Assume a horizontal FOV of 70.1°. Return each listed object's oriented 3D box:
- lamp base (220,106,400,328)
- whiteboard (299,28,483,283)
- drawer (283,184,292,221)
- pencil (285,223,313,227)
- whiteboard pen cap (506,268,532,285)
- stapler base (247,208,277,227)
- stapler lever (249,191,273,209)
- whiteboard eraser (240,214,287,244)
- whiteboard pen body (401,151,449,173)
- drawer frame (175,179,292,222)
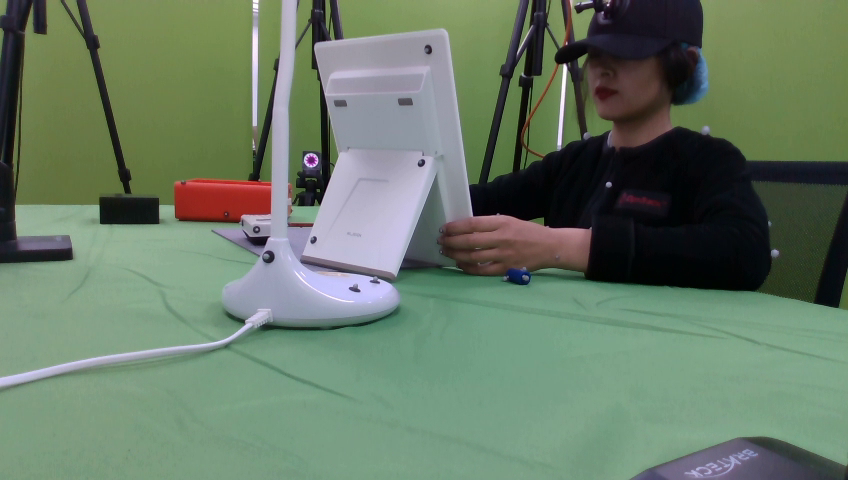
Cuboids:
[{"bbox_3d":[-0.102,-0.023,0.531,0.160,0.180,0.179,4,10,10],"label":"lamp base"},{"bbox_3d":[-0.075,-0.082,0.741,0.216,0.305,0.144,9,30,38],"label":"whiteboard"},{"bbox_3d":[-0.397,-0.086,1.314,0.212,0.073,0.194,1,8,-9],"label":"drawer"},{"bbox_3d":[-0.234,-0.030,1.198,0.195,0.012,0.012,0,8,-20],"label":"pencil"},{"bbox_3d":[0.113,0.043,0.726,0.018,0.018,0.033,-2,9,-28],"label":"whiteboard pen cap"},{"bbox_3d":[-0.350,-0.054,1.310,0.041,0.024,0.130,0,13,-3],"label":"stapler base"},{"bbox_3d":[-0.351,-0.086,1.305,0.027,0.040,0.118,0,5,-3],"label":"stapler lever"},{"bbox_3d":[-0.256,-0.017,0.958,0.056,0.042,0.112,0,8,-25],"label":"whiteboard eraser"},{"bbox_3d":[0.002,-0.113,0.881,0.017,0.017,0.141,6,18,26],"label":"whiteboard pen body"},{"bbox_3d":[-0.402,-0.087,1.311,0.214,0.082,0.201,1,8,-9],"label":"drawer frame"}]
